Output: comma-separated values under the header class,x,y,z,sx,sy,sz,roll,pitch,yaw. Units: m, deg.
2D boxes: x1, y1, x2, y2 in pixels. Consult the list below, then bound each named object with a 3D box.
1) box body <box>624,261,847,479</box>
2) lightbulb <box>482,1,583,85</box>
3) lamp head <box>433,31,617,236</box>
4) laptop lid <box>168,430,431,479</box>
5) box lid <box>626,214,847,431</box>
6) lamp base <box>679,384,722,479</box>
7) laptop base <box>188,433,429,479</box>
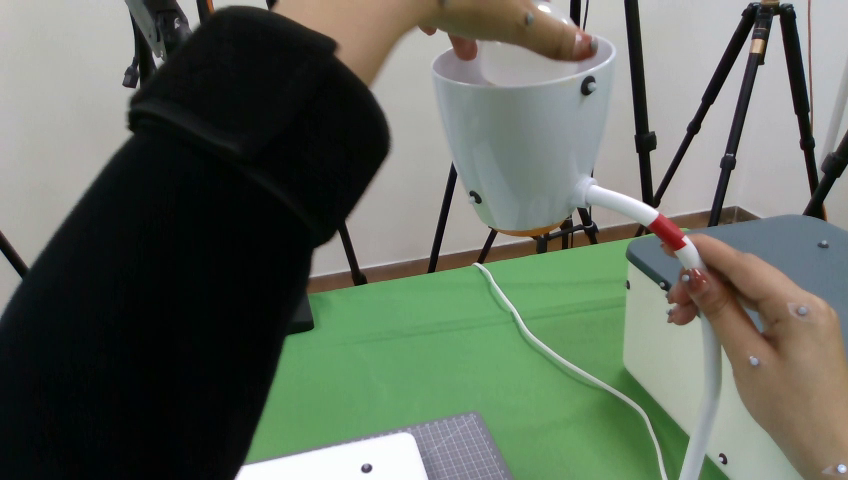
class,x,y,z,sx,sy,sz,roll,pitch,yaw
box body,0.390,0.131,0.580,0.255,0.161,0.360,-9,27,-14
lightbulb,0.065,-0.091,0.376,0.059,0.108,0.059,-1,34,1
lamp head,0.070,-0.064,0.395,0.112,0.124,0.111,-10,28,6
laptop lid,-0.152,0.268,0.477,0.357,0.013,0.239,-8,29,-11
box lid,0.388,0.063,0.548,0.264,0.015,0.367,-9,27,-14
lamp base,0.177,0.202,0.427,0.160,0.181,0.179,10,26,21
laptop base,-0.152,0.277,0.485,0.355,0.023,0.233,-8,30,-13
